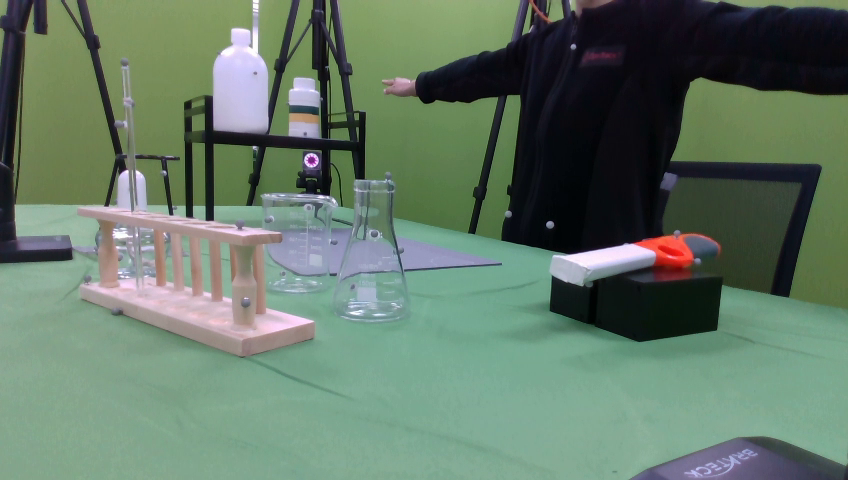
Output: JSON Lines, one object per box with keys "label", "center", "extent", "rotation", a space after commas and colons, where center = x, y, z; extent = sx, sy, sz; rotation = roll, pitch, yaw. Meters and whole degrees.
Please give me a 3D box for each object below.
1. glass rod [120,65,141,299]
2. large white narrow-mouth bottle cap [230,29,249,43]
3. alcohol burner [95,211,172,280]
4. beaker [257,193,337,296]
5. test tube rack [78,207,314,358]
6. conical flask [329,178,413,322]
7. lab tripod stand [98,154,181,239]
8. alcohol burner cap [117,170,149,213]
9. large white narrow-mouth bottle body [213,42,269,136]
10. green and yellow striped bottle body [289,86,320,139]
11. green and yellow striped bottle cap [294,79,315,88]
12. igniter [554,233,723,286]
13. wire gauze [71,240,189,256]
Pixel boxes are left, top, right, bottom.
{"label": "glass rod", "center": [-0.248, -0.047, 0.513], "extent": [0.008, 0.199, 0.008], "rotation": [-1, 4, 0]}
{"label": "large white narrow-mouth bottle cap", "center": [-0.352, -0.387, 1.152], "extent": [0.038, 0.024, 0.037], "rotation": [1, 8, 0]}
{"label": "alcohol burner", "center": [-0.320, -0.017, 0.667], "extent": [0.078, 0.119, 0.078], "rotation": [0, 7, 0]}
{"label": "beaker", "center": [-0.130, 0.004, 0.628], "extent": [0.084, 0.100, 0.074], "rotation": [5, 8, 15]}
{"label": "test tube rack", "center": [-0.196, 0.024, 0.500], "extent": [0.241, 0.085, 0.067], "rotation": [8, 8, 37]}
{"label": "conical flask", "center": [-0.045, 0.007, 0.534], "extent": [0.075, 0.122, 0.075], "rotation": [2, 7, 0]}
{"label": "lab tripod stand", "center": [-0.427, -0.066, 0.942], "extent": [0.148, 0.131, 0.148], "rotation": [1, 6, 0]}
{"label": "alcohol burner cap", "center": [-0.320, -0.052, 0.661], "extent": [0.034, 0.048, 0.034], "rotation": [-3, 0, 0]}
{"label": "large white narrow-mouth bottle body", "center": [-0.353, -0.301, 1.166], "extent": [0.102, 0.194, 0.102], "rotation": [1, 8, 0]}
{"label": "green and yellow striped bottle body", "center": [-0.250, -0.272, 1.261], "extent": [0.063, 0.119, 0.063], "rotation": [3, 7, 0]}
{"label": "green and yellow striped bottle cap", "center": [-0.248, -0.323, 1.256], "extent": [0.045, 0.020, 0.045], "rotation": [3, 9, 0]}
{"label": "igniter", "center": [0.214, 0.015, 0.570], "extent": [0.278, 0.025, 0.057], "rotation": [-5, 22, -44]}
{"label": "wire gauze", "center": [-0.399, 0.013, 0.820], "extent": [0.126, 0.011, 0.121], "rotation": [-3, 8, -37]}
